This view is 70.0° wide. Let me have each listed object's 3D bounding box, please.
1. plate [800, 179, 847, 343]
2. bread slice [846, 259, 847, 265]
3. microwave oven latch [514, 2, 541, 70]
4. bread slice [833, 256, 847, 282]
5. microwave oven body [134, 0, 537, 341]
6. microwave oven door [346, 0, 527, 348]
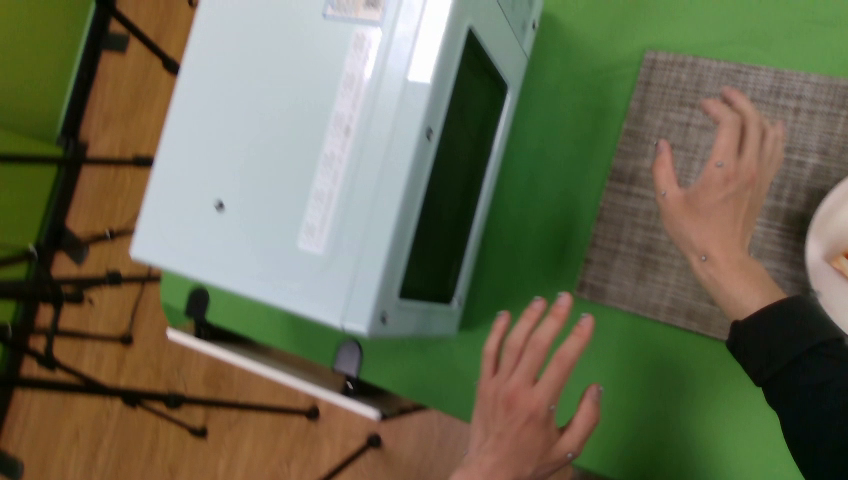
[{"bbox_3d":[0.479,0.024,0.581,0.207,0.039,0.207,-3,81,22],"label":"plate"},{"bbox_3d":[0.462,0.010,0.526,0.131,0.019,0.104,-44,63,7],"label":"bread slice"},{"bbox_3d":[0.124,-0.255,0.752,0.030,0.030,0.079,14,88,23],"label":"microwave oven latch"},{"bbox_3d":[0.483,0.017,0.580,0.106,0.018,0.134,43,98,21],"label":"bread slice"},{"bbox_3d":[-0.091,-0.131,0.715,0.324,0.262,0.441,14,88,23],"label":"microwave oven body"},{"bbox_3d":[0.026,-0.059,0.651,0.039,0.245,0.355,13,87,24],"label":"microwave oven door"}]
